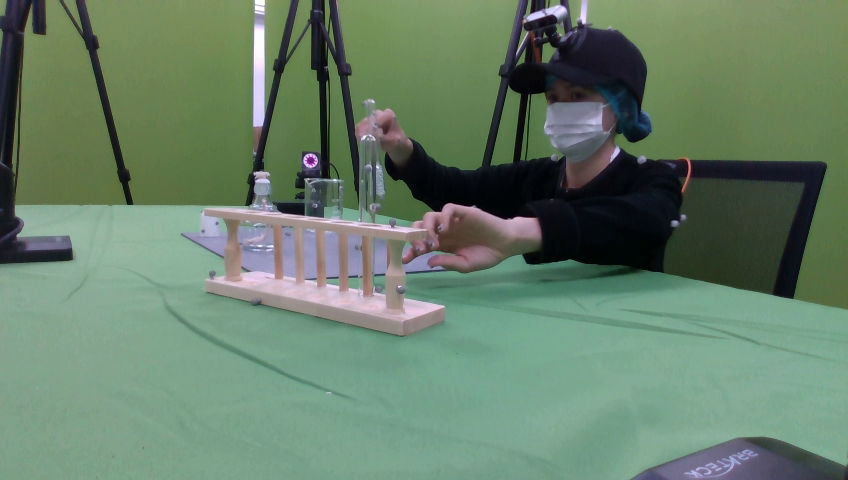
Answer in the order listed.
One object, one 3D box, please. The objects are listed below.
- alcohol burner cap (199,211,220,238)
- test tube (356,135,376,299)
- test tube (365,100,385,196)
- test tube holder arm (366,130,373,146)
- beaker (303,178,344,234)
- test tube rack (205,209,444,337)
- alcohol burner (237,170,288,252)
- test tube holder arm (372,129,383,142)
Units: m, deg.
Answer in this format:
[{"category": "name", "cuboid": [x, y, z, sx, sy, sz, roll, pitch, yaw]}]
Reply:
[{"category": "alcohol burner cap", "cuboid": [-0.356, -0.027, 1.002, 0.034, 0.048, 0.034, 2, 7, 0]}, {"category": "test tube", "cuboid": [-0.053, -0.019, 0.550, 0.017, 0.150, 0.017, 2, 9, 0]}, {"category": "test tube", "cuboid": [-0.076, -0.144, 0.950, 0.017, 0.150, 0.017, -6, 4, 1]}, {"category": "test tube holder arm", "cuboid": [-0.092, -0.171, 1.015, 0.013, 0.015, 0.178, -3, 5, -7]}, {"category": "beaker", "cuboid": [-0.189, -0.063, 1.119, 0.073, 0.100, 0.084, 7, 9, 28]}, {"category": "test tube rack", "cuboid": [-0.100, 0.021, 0.565, 0.241, 0.085, 0.067, 7, 9, 32]}, {"category": "alcohol burner", "cuboid": [-0.236, -0.042, 0.882, 0.078, 0.119, 0.078, 2, 9, 0]}, {"category": "test tube holder arm", "cuboid": [-0.079, -0.167, 0.972, 0.010, 0.015, 0.087, -4, 5, -14]}]
